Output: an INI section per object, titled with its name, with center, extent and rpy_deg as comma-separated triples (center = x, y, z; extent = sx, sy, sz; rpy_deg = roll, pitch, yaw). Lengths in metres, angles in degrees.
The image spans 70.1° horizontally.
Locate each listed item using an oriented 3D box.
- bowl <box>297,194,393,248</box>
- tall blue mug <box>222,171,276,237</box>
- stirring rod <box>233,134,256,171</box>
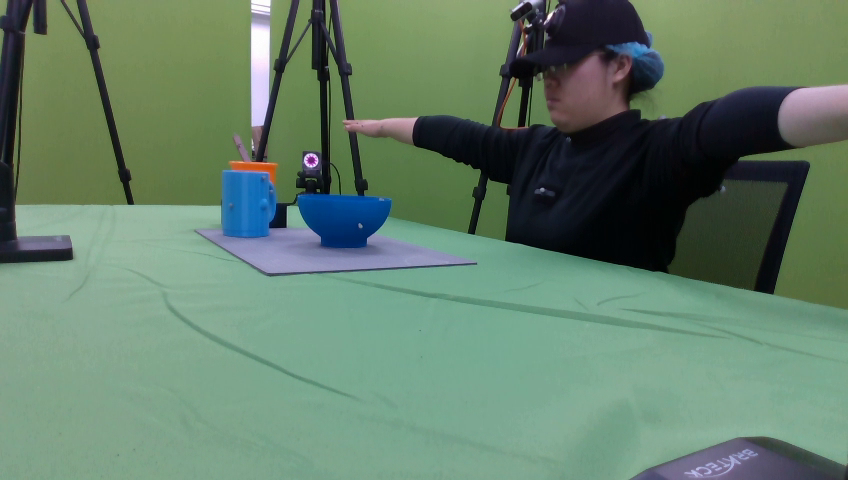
[bowl]
center = -0.127, -0.031, 0.964
extent = 0.151, 0.077, 0.151
rpy_deg = 2, 7, 0
[tall blue mug]
center = -0.303, -0.065, 1.043
extent = 0.078, 0.108, 0.107
rpy_deg = 1, 7, -4
[stirring rod]
center = -0.346, -0.148, 1.198
extent = 0.014, 0.006, 0.175
rpy_deg = -6, 53, -39
